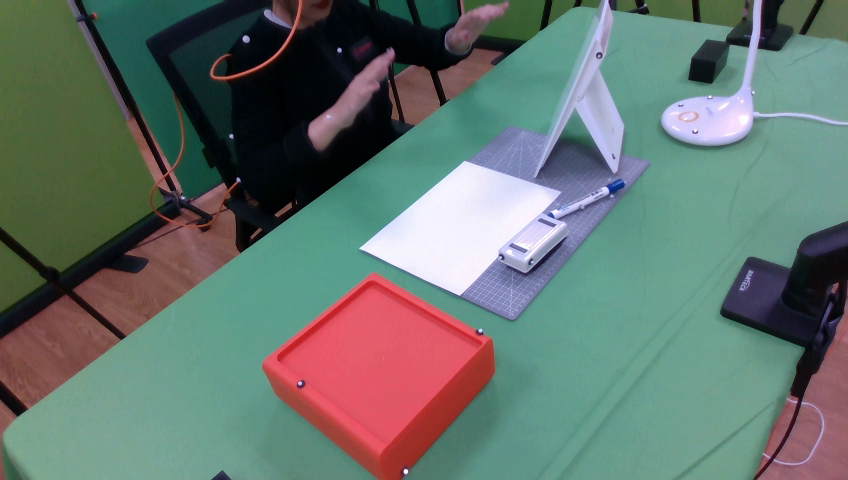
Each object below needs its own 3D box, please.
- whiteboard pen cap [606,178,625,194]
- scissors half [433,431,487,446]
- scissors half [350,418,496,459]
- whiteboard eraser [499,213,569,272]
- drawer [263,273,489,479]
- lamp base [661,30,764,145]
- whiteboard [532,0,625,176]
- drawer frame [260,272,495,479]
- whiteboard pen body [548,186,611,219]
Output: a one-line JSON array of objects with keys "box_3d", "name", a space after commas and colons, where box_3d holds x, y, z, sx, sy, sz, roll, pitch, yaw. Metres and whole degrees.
[{"box_3d": [0.320, -0.090, 1.016, 0.033, 0.018, 0.018, -27, 43, -14], "name": "whiteboard pen cap"}, {"box_3d": [0.000, 0.234, 0.706, 0.176, 0.040, 0.012, 11, 26, -25], "name": "scissors half"}, {"box_3d": [0.002, 0.224, 0.700, 0.176, 0.040, 0.012, -5, 38, -17], "name": "scissors half"}, {"box_3d": [0.168, 0.006, 0.923, 0.055, 0.042, 0.113, 29, 53, 34], "name": "whiteboard eraser"}, {"box_3d": [-0.057, 0.159, 0.759, 0.210, 0.073, 0.195, 27, 51, 34], "name": "drawer"}, {"box_3d": [0.535, -0.287, 1.096, 0.179, 0.181, 0.159, -10, 40, -4], "name": "lamp base"}, {"box_3d": [0.320, -0.259, 1.050, 0.144, 0.306, 0.217, 21, 45, 5], "name": "whiteboard"}, {"box_3d": [-0.055, 0.159, 0.758, 0.212, 0.083, 0.202, 26, 50, 33], "name": "drawer frame"}, {"box_3d": [0.267, -0.066, 1.004, 0.141, 0.017, 0.017, -25, 43, -13], "name": "whiteboard pen body"}]
